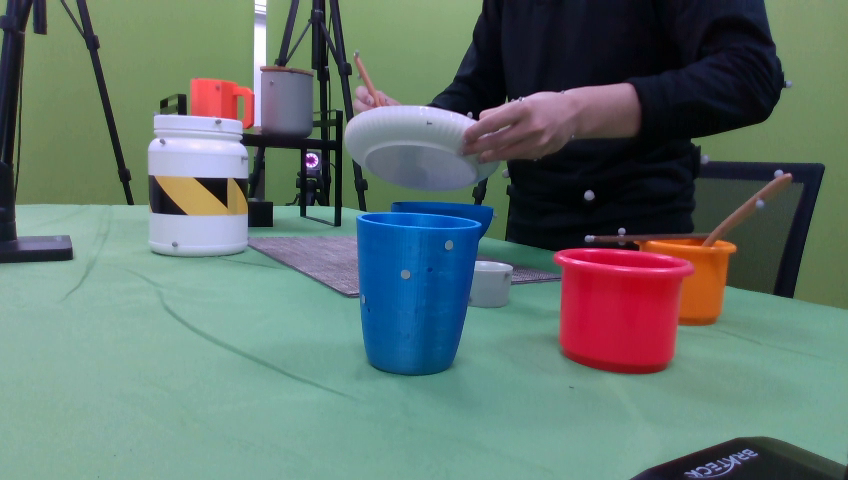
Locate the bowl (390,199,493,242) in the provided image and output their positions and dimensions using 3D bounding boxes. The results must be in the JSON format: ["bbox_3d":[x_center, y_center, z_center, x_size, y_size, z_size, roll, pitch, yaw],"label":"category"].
[{"bbox_3d":[0.023,-0.016,0.874,0.151,0.077,0.151,3,6,0],"label":"bowl"}]

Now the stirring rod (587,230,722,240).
[{"bbox_3d":[0.227,-0.006,0.585,0.177,0.006,0.014,-2,7,-28],"label":"stirring rod"}]

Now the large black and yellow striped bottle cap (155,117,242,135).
[{"bbox_3d":[-0.313,-0.159,0.845,0.115,0.019,0.115,3,9,0],"label":"large black and yellow striped bottle cap"}]

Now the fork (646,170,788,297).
[{"bbox_3d":[0.256,0.004,0.543,0.028,0.018,0.207,3,-36,-10],"label":"fork"}]

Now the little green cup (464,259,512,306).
[{"bbox_3d":[0.057,0.043,0.611,0.061,0.038,0.061,3,8,0],"label":"little green cup"}]

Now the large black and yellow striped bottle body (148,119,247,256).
[{"bbox_3d":[-0.318,-0.076,0.855,0.131,0.184,0.130,2,7,0],"label":"large black and yellow striped bottle body"}]

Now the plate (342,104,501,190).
[{"bbox_3d":[-0.006,-0.109,0.784,0.209,0.038,0.209,7,-16,2],"label":"plate"}]

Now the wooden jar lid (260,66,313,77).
[{"bbox_3d":[-0.283,-0.339,1.244,0.108,0.020,0.108,6,9,-1],"label":"wooden jar lid"}]

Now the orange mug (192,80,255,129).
[{"bbox_3d":[-0.389,-0.257,1.172,0.126,0.100,0.083,-1,6,9],"label":"orange mug"}]

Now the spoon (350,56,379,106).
[{"bbox_3d":[-0.065,-0.172,0.851,0.022,0.193,0.041,-18,-8,-8],"label":"spoon"}]

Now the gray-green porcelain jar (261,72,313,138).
[{"bbox_3d":[-0.284,-0.276,1.253,0.106,0.126,0.106,2,8,0],"label":"gray-green porcelain jar"}]

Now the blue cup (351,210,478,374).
[{"bbox_3d":[-0.009,0.034,0.414,0.093,0.100,0.092,4,8,0],"label":"blue cup"}]
